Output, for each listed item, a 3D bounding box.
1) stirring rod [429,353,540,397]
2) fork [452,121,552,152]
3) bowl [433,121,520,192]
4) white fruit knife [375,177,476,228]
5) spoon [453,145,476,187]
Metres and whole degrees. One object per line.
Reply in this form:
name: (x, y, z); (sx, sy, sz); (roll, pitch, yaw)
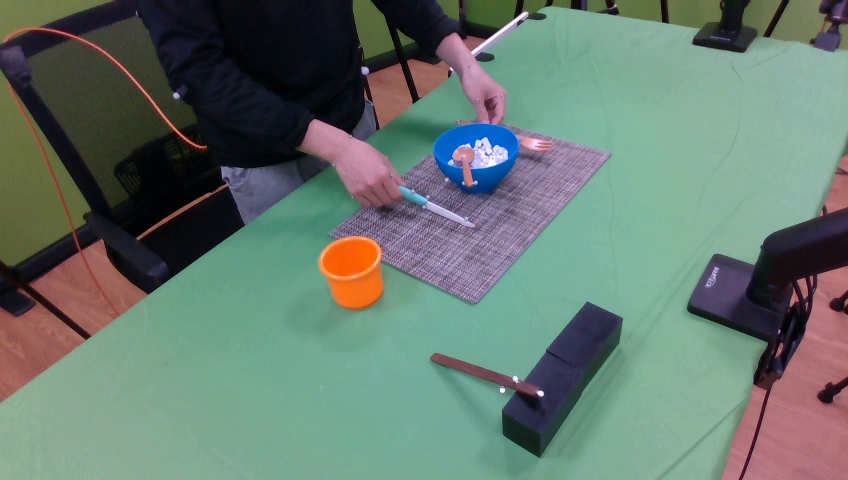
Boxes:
stirring rod: (0.069, 0.162, 0.737); (0.174, 0.006, 0.014); (7, 42, 47)
fork: (0.144, -0.198, 1.146); (0.206, 0.028, 0.018); (23, 85, 24)
bowl: (0.094, -0.138, 1.064); (0.151, 0.077, 0.150); (-4, 41, 4)
white fruit knife: (-0.001, -0.064, 1.015); (0.206, 0.027, 0.016); (26, 63, 23)
spoon: (0.069, -0.124, 1.000); (0.041, 0.022, 0.193); (-9, 21, 6)
